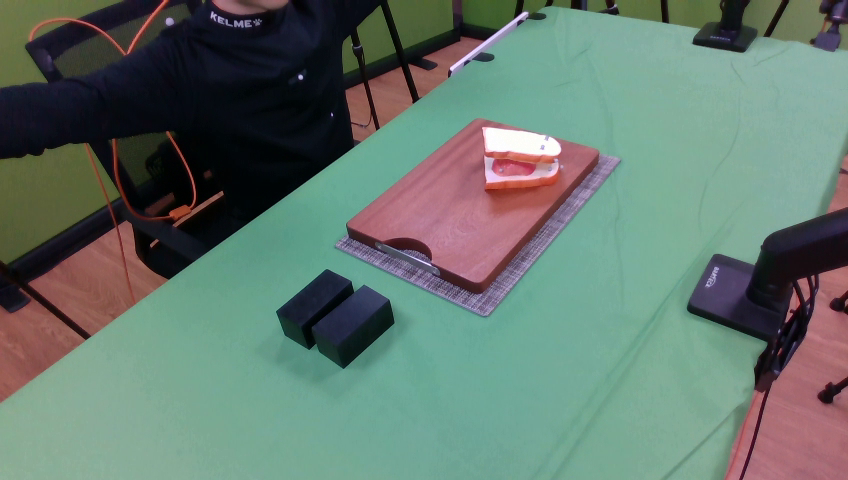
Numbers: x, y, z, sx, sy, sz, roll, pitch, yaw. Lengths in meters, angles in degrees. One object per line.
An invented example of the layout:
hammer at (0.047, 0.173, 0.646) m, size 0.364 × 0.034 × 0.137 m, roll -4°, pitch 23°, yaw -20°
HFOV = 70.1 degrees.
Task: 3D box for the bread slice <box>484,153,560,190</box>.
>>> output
bread slice at (0.170, -0.128, 1.054) m, size 0.131 × 0.019 × 0.104 m, roll -4°, pitch 43°, yaw 5°

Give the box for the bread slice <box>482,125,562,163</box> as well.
bread slice at (0.165, -0.161, 1.024) m, size 0.134 × 0.018 × 0.106 m, roll 6°, pitch 33°, yaw -6°
